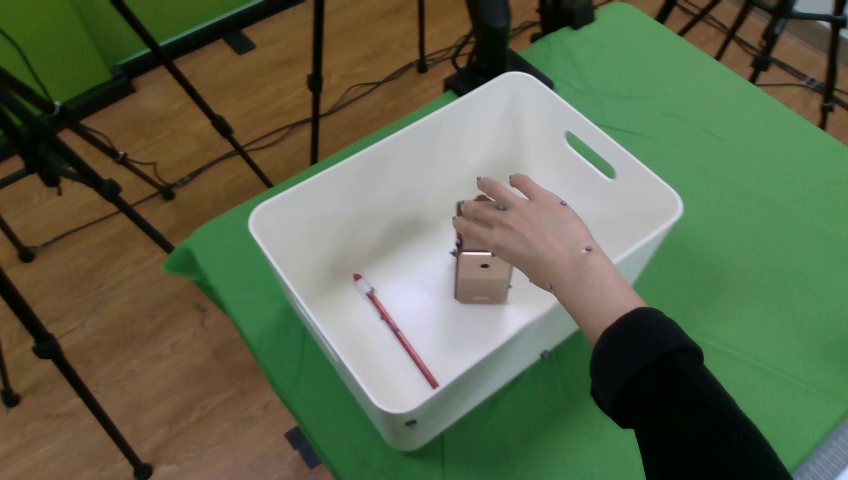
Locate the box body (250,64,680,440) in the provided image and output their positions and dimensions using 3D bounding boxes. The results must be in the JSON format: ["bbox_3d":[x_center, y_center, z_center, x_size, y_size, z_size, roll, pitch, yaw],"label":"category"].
[{"bbox_3d":[0.042,0.007,0.650,0.364,0.162,0.252,-32,62,-19],"label":"box body"}]

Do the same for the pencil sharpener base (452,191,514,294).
[{"bbox_3d":[0.063,0.004,0.677,0.061,0.108,0.076,1,56,1],"label":"pencil sharpener base"}]

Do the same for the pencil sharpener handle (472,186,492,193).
[{"bbox_3d":[0.066,-0.045,0.695,0.036,0.068,0.030,-2,56,5],"label":"pencil sharpener handle"}]

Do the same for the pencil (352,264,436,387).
[{"bbox_3d":[-0.030,0.100,0.674,0.012,0.012,0.192,-28,63,-17],"label":"pencil"}]
